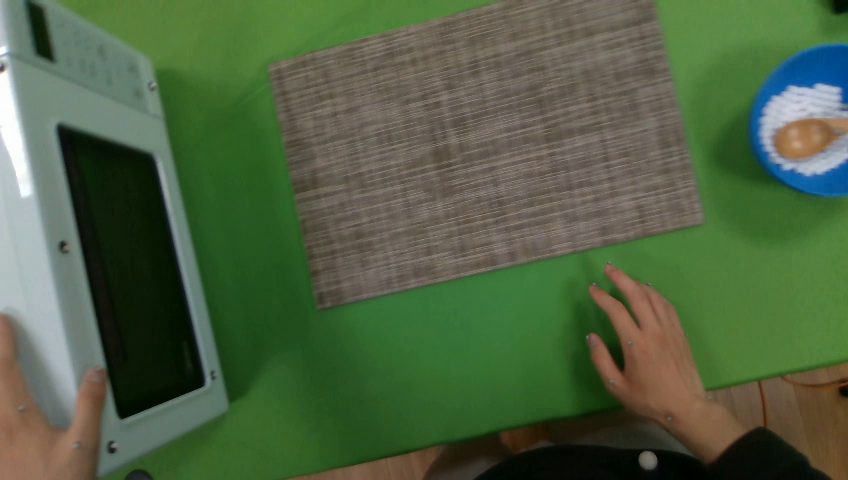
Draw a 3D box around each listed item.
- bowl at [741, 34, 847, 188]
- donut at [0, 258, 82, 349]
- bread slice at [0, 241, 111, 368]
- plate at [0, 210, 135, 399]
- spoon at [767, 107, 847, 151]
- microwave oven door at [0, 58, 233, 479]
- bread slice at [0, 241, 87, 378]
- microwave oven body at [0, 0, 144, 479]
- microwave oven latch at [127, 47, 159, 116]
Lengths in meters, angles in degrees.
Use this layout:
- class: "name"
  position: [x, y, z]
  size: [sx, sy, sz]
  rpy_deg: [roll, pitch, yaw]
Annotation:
- class: "bowl"
  position: [0.396, -0.125, 0.625]
  size: [0.151, 0.077, 0.151]
  rpy_deg: [0, 89, 7]
- class: "donut"
  position: [-0.419, 0.068, 0.649]
  size: [0.099, 0.048, 0.099]
  rpy_deg: [0, 86, 2]
- class: "bread slice"
  position: [-0.426, 0.065, 0.669]
  size: [0.134, 0.018, 0.107]
  rpy_deg: [26, 85, 9]
- class: "plate"
  position: [-0.418, 0.071, 0.677]
  size: [0.207, 0.039, 0.207]
  rpy_deg: [0, 89, 5]
- class: "spoon"
  position: [0.441, -0.132, 0.588]
  size: [0.193, 0.022, 0.041]
  rpy_deg: [-17, 81, 28]
- class: "microwave oven door"
  position: [-0.301, 0.025, 0.608]
  size: [0.039, 0.244, 0.355]
  rpy_deg: [-16, 87, 7]
- class: "bread slice"
  position: [-0.428, 0.066, 0.623]
  size: [0.131, 0.019, 0.105]
  rpy_deg: [33, 95, 3]
- class: "microwave oven body"
  position: [-0.451, 0.023, 0.631]
  size: [0.326, 0.260, 0.441]
  rpy_deg: [-15, 88, 6]
- class: "microwave oven latch"
  position: [-0.342, -0.184, 0.717]
  size: [0.030, 0.029, 0.079]
  rpy_deg: [-16, 88, 6]
